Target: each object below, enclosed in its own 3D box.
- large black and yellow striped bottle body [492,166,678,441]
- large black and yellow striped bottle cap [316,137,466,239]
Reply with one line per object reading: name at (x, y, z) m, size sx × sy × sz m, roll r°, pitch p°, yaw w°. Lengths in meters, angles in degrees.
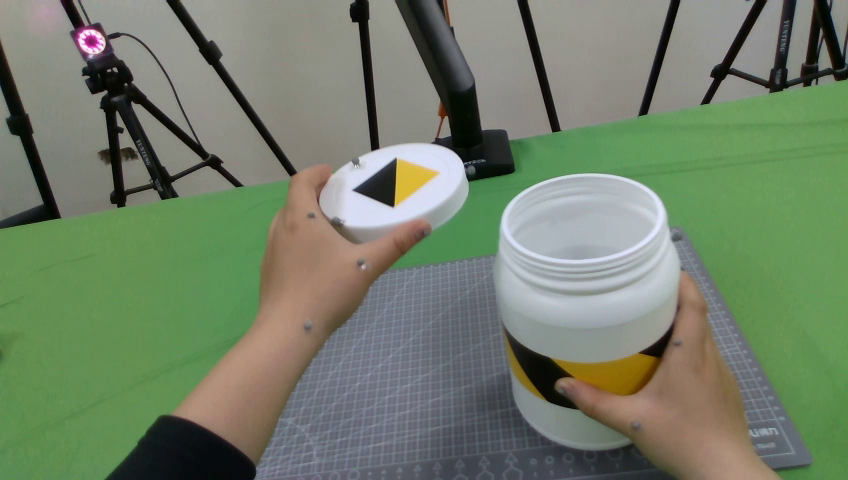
large black and yellow striped bottle body at (0.123, 0.049, 0.464) m, size 0.130 × 0.186 × 0.129 m, roll -9°, pitch 36°, yaw 7°
large black and yellow striped bottle cap at (-0.025, -0.044, 0.463) m, size 0.115 × 0.019 × 0.114 m, roll -8°, pitch 39°, yaw 7°
